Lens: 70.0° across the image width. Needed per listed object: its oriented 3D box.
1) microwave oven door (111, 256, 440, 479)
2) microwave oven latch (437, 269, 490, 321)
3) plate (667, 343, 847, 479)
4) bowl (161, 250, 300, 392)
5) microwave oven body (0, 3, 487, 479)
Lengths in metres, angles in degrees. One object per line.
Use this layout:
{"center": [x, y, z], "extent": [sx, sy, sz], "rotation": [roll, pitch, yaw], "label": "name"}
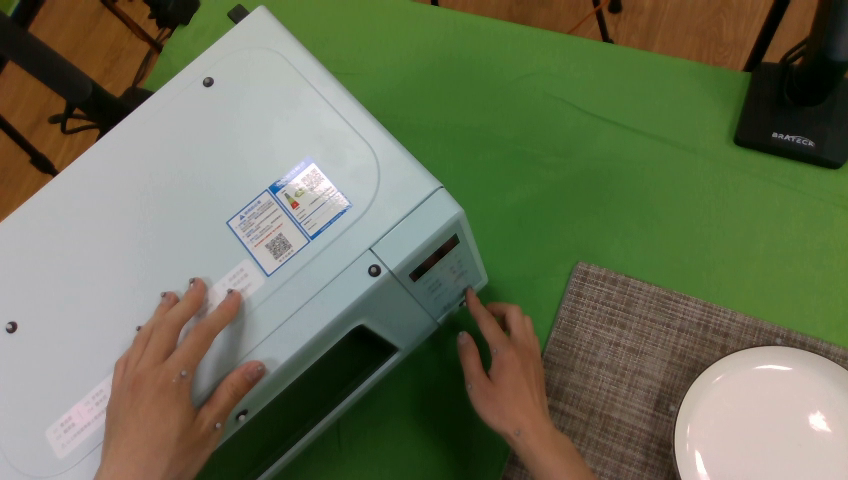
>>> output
{"center": [-0.146, 0.168, 0.582], "extent": [0.355, 0.246, 0.039], "rotation": [-42, 68, -4], "label": "microwave oven door"}
{"center": [0.039, 0.056, 0.691], "extent": [0.079, 0.030, 0.030], "rotation": [-40, 70, -2], "label": "microwave oven latch"}
{"center": [0.347, 0.208, 0.596], "extent": [0.207, 0.039, 0.206], "rotation": [-3, 72, 10], "label": "plate"}
{"center": [-0.196, 0.095, 0.660], "extent": [0.151, 0.077, 0.150], "rotation": [-4, 67, 11], "label": "bowl"}
{"center": [-0.206, 0.042, 0.640], "extent": [0.441, 0.262, 0.323], "rotation": [-42, 70, -3], "label": "microwave oven body"}
